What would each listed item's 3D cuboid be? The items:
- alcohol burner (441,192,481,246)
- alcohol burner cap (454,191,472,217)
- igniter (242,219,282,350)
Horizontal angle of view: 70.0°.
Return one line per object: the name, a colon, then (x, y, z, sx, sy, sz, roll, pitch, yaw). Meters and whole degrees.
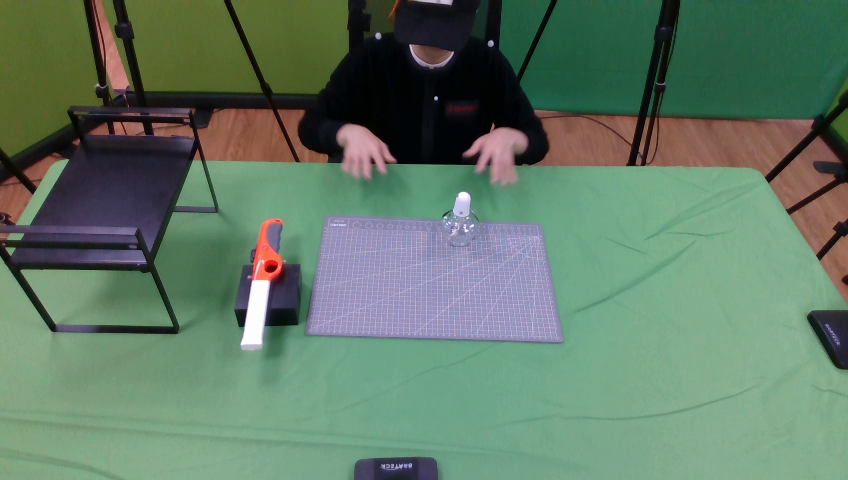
alcohol burner: (0.073, -0.046, 1.176, 0.078, 0.119, 0.077, 2, 44, -2)
alcohol burner cap: (0.076, -0.070, 1.150, 0.034, 0.048, 0.033, 3, 43, -2)
igniter: (-0.277, 0.065, 1.043, 0.057, 0.025, 0.274, 1, 48, -6)
